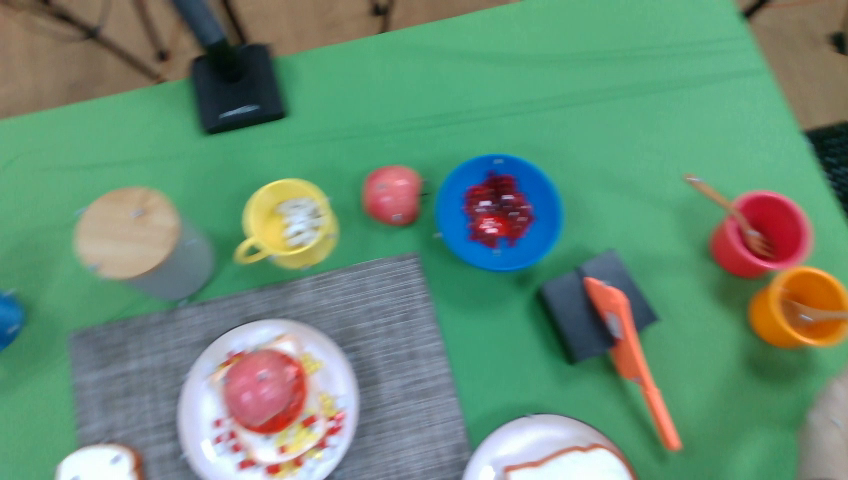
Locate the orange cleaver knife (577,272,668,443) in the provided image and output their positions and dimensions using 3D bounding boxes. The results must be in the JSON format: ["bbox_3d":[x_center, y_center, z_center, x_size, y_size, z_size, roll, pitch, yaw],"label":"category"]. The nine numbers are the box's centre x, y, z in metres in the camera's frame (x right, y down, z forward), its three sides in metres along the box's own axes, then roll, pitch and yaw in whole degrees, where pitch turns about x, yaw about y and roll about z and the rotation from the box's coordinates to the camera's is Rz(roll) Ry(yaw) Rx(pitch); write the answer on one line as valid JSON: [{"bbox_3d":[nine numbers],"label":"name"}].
[{"bbox_3d":[0.228,0.134,0.704,0.012,0.077,0.211,-24,96,-14],"label":"orange cleaver knife"}]

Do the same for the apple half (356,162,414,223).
[{"bbox_3d":[-0.051,-0.067,0.782,0.074,0.053,0.080,7,74,5],"label":"apple half"}]

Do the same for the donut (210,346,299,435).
[{"bbox_3d":[-0.191,0.170,0.685,0.099,0.048,0.098,0,73,1],"label":"donut"}]

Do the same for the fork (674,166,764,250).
[{"bbox_3d":[0.355,-0.036,0.722,0.209,0.018,0.028,29,69,-35],"label":"fork"}]

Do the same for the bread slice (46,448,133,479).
[{"bbox_3d":[-0.384,0.305,0.685,0.105,0.019,0.130,-7,74,-3],"label":"bread slice"}]

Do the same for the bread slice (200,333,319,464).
[{"bbox_3d":[-0.183,0.189,0.709,0.107,0.018,0.133,-31,77,-8],"label":"bread slice"}]

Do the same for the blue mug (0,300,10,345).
[{"bbox_3d":[-0.560,0.108,0.702,0.082,0.106,0.116,6,73,2],"label":"blue mug"}]

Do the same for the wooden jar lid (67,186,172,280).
[{"bbox_3d":[-0.328,-0.006,0.659,0.108,0.021,0.107,1,70,-1],"label":"wooden jar lid"}]

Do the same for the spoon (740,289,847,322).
[{"bbox_3d":[0.464,0.076,0.686,0.022,0.192,0.041,26,70,-38],"label":"spoon"}]

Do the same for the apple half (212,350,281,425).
[{"bbox_3d":[-0.193,0.158,0.651,0.081,0.033,0.081,-2,71,7],"label":"apple half"}]

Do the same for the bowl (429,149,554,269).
[{"bbox_3d":[0.081,-0.029,0.756,0.151,0.077,0.150,0,73,1],"label":"bowl"}]

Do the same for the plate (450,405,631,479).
[{"bbox_3d":[0.129,0.294,0.679,0.209,0.038,0.208,0,73,1],"label":"plate"}]

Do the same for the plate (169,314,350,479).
[{"bbox_3d":[-0.188,0.192,0.707,0.208,0.039,0.206,0,73,0],"label":"plate"}]

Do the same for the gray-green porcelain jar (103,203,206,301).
[{"bbox_3d":[-0.327,0.013,0.720,0.106,0.127,0.105,0,72,0],"label":"gray-green porcelain jar"}]

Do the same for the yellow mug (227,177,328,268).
[{"bbox_3d":[-0.188,-0.012,0.759,0.131,0.064,0.099,-36,76,-9],"label":"yellow mug"}]
